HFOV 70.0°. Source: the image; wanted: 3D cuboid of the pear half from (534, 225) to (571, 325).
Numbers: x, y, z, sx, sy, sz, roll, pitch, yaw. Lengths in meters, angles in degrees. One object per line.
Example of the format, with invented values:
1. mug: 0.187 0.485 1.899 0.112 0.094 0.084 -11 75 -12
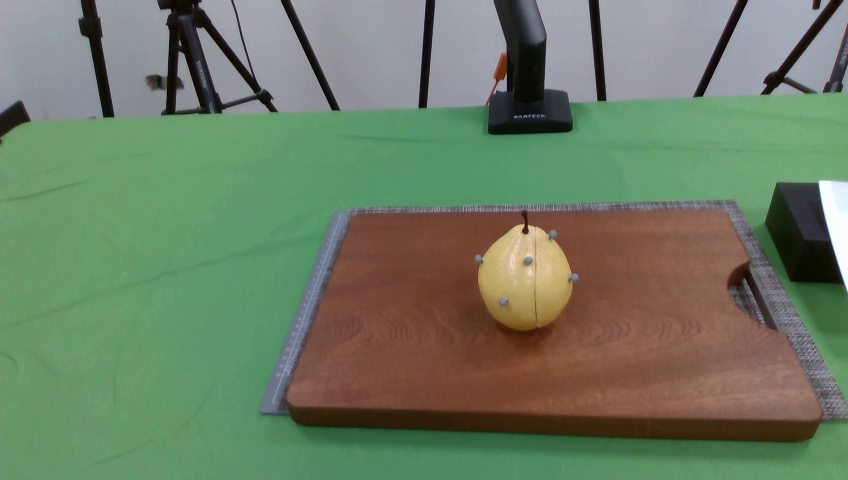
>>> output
1. pear half: 0.106 0.028 0.504 0.031 0.088 0.070 -1 29 7

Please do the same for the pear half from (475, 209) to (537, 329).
1. pear half: 0.070 0.020 0.504 0.056 0.111 0.076 0 33 8

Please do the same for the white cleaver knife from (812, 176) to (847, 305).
1. white cleaver knife: 0.385 0.047 0.505 0.065 0.022 0.284 0 48 14
